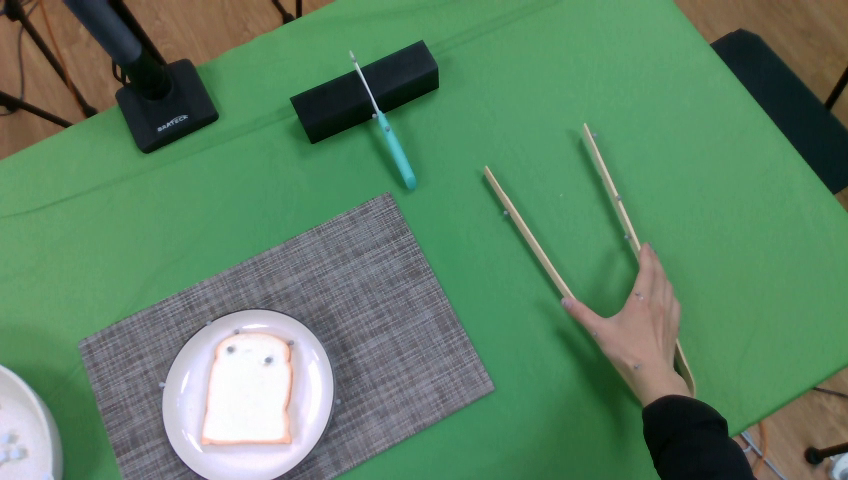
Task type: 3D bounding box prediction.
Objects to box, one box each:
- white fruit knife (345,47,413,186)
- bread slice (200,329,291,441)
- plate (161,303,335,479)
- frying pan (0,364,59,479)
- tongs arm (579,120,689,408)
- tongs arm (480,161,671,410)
[{"bbox_3d":[-0.063,-0.170,0.824,0.016,0.027,0.207,-25,87,-7],"label":"white fruit knife"},{"bbox_3d":[-0.216,0.177,0.740,0.107,0.018,0.133,-4,74,0],"label":"bread slice"},{"bbox_3d":[-0.210,0.181,0.737,0.207,0.039,0.206,-1,73,2],"label":"plate"},{"bbox_3d":[-0.573,0.372,0.658,0.306,0.103,0.484,4,64,4],"label":"frying pan"},{"bbox_3d":[0.254,0.020,0.777,0.051,0.027,0.382,-18,74,-3],"label":"tongs arm"},{"bbox_3d":[0.180,0.052,0.773,0.028,0.028,0.385,-30,74,-10],"label":"tongs arm"}]
